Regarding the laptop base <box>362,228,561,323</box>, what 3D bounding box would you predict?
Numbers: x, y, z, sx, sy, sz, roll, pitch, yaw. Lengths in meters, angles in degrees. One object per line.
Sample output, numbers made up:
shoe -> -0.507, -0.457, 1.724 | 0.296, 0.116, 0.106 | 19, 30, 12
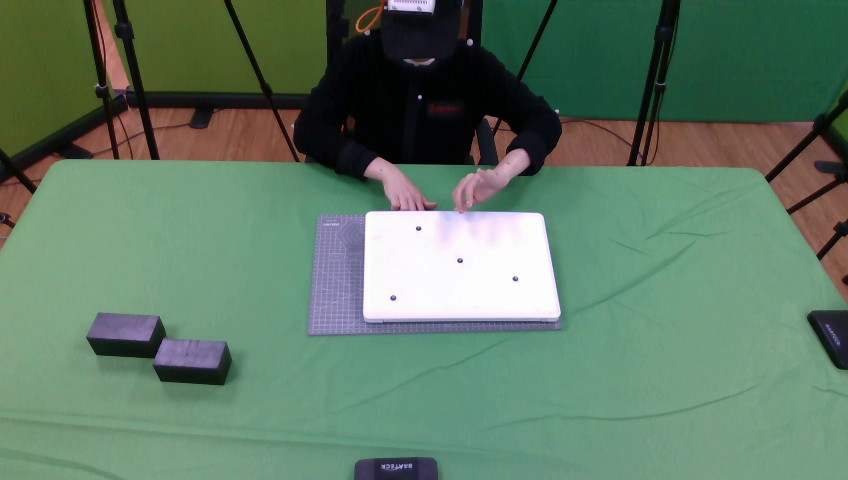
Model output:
laptop base -> 0.064, 0.063, 1.142 | 0.355, 0.023, 0.234 | 0, 42, -4

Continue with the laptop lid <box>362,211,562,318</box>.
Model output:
laptop lid -> 0.065, 0.040, 1.118 | 0.357, 0.013, 0.240 | 2, 56, -3
